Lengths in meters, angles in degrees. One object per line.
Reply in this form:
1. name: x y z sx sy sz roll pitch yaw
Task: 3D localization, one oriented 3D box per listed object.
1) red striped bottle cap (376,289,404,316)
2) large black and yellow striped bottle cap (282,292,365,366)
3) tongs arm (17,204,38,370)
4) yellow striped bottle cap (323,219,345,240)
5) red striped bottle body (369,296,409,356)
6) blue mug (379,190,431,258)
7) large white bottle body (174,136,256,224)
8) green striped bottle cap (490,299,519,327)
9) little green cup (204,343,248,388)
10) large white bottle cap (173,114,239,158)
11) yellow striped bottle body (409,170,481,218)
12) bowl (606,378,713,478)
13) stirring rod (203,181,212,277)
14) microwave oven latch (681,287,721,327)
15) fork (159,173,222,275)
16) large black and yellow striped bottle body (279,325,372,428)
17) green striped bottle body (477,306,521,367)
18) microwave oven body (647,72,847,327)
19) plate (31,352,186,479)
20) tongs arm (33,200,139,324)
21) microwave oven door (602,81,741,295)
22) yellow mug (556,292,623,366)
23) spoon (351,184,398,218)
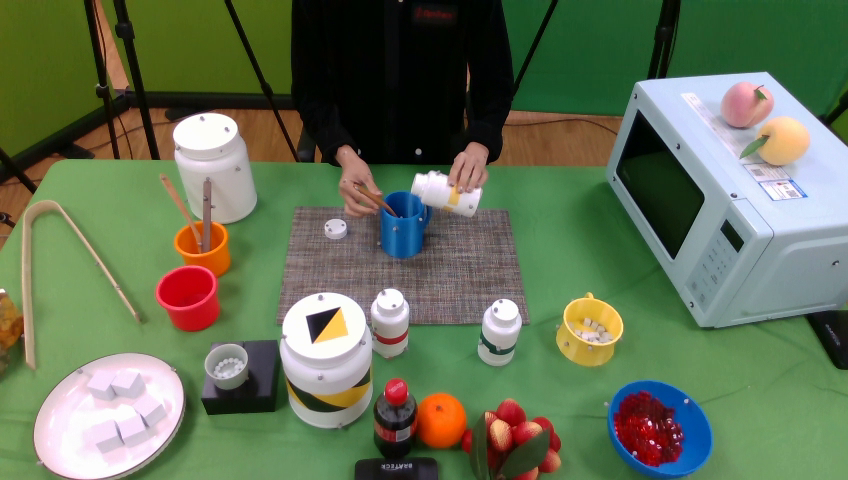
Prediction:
1. red striped bottle cap: -0.054 0.098 0.958 0.044 0.018 0.044 0 48 0
2. large black and yellow striped bottle cap: -0.138 0.121 0.841 0.115 0.019 0.114 3 47 -3
3. tongs arm: -0.698 0.069 1.068 0.028 0.028 0.385 -20 50 -13
4. yellow striped bottle cap: -0.179 -0.022 1.205 0.044 0.019 0.044 3 46 -3
5. red striped bottle body: -0.058 0.134 0.997 0.063 0.120 0.062 4 47 -4
6. blue mug: -0.033 -0.037 1.168 0.116 0.106 0.082 -30 56 -28
7. large white bottle body: -0.408 -0.137 1.183 0.131 0.185 0.130 2 46 -2
8. green striped bottle cap: 0.127 0.115 0.958 0.044 0.020 0.044 2 47 -2
9. little green cup: -0.294 0.190 0.909 0.061 0.039 0.061 1 48 -1
10. large white bottle cap: -0.403 -0.195 1.122 0.115 0.018 0.114 2 47 -2
11. yellow striped bottle body: 0.036 -0.086 1.091 0.120 0.063 0.062 16 45 -9
12. bowl: 0.340 0.292 0.906 0.151 0.077 0.150 2 46 -2
13. stirring rod: -0.396 -0.021 1.108 0.014 0.006 0.176 -1 89 -1
14. microwave oven latch: 0.494 0.119 1.087 0.030 0.029 0.078 -6 46 -9
15. fork: -0.427 -0.029 1.103 0.028 0.018 0.207 -31 99 -30
16. large black and yellow striped bottle body: -0.143 0.181 0.900 0.131 0.185 0.130 2 46 -2
17. green striped bottle body: 0.124 0.151 0.995 0.063 0.120 0.063 2 46 -2
18. microwave oven body: 0.607 -0.089 1.164 0.326 0.261 0.438 -7 46 -10
19. plate: -0.459 0.262 0.898 0.209 0.038 0.208 2 46 -2
20. tongs arm: -0.622 0.034 1.105 0.051 0.026 0.382 -32 56 -26
21. microwave oven door: 0.456 -0.107 1.162 0.039 0.245 0.353 -6 47 -11
22. yellow mug: 0.285 0.145 1.051 0.100 0.064 0.130 7 45 3
23. spoon: -0.070 -0.056 1.124 0.021 0.195 0.041 -34 47 13
